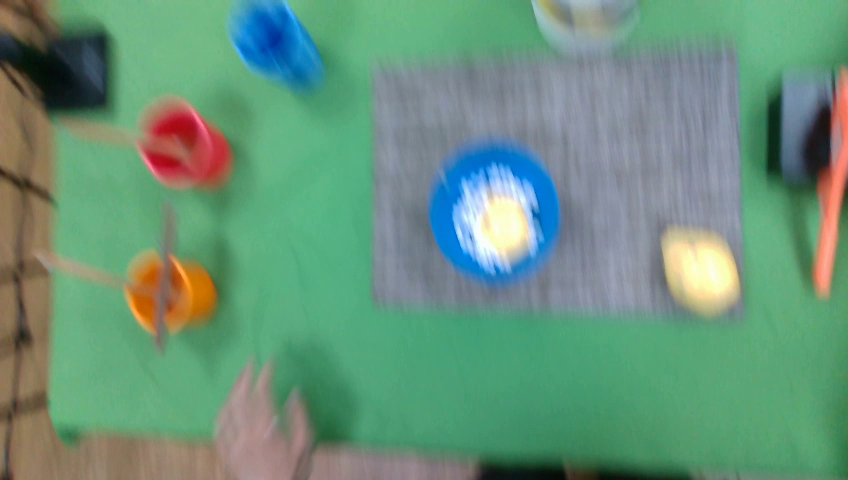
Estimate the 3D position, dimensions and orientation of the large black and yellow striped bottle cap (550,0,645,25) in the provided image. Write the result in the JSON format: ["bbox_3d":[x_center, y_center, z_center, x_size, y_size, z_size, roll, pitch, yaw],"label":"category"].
[{"bbox_3d":[0.180,-0.279,0.619,0.115,0.019,0.114,-1,84,13],"label":"large black and yellow striped bottle cap"}]

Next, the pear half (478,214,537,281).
[{"bbox_3d":[0.097,0.004,0.733,0.070,0.031,0.087,-26,75,6],"label":"pear half"}]

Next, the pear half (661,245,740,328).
[{"bbox_3d":[0.315,0.048,0.705,0.076,0.056,0.109,-39,74,-1],"label":"pear half"}]

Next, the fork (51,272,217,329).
[{"bbox_3d":[-0.375,0.079,0.795,0.209,0.018,0.028,23,97,-30],"label":"fork"}]

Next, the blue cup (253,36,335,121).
[{"bbox_3d":[-0.165,-0.203,0.810,0.092,0.101,0.092,-2,83,14],"label":"blue cup"}]

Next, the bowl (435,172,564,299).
[{"bbox_3d":[0.094,-0.001,0.740,0.151,0.077,0.151,-1,83,12],"label":"bowl"}]

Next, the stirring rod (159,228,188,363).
[{"bbox_3d":[-0.324,0.071,0.784,0.014,0.006,0.175,6,85,9],"label":"stirring rod"}]

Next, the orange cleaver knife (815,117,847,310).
[{"bbox_3d":[0.452,-0.026,0.671,0.012,0.077,0.212,2,113,18],"label":"orange cleaver knife"}]

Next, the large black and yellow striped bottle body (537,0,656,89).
[{"bbox_3d":[0.196,-0.268,0.701,0.130,0.185,0.130,-1,83,12],"label":"large black and yellow striped bottle body"}]

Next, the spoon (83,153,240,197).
[{"bbox_3d":[-0.347,-0.094,0.814,0.195,0.021,0.041,11,86,-31],"label":"spoon"}]
